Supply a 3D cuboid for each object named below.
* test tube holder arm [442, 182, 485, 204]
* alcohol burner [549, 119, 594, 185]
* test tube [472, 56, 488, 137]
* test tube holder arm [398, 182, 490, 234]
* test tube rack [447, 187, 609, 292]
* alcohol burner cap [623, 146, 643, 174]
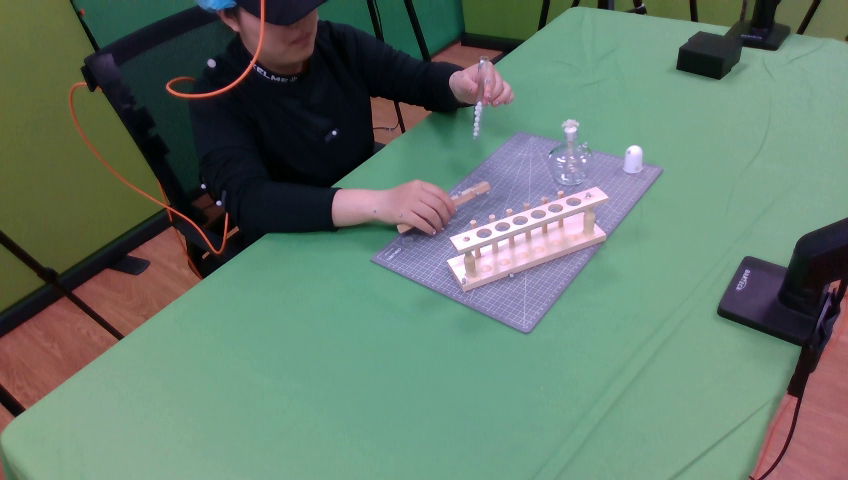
[{"bbox_3d":[0.070,-0.075,1.023,0.088,0.015,0.010,-28,14,-19],"label":"test tube holder arm"},{"bbox_3d":[0.254,-0.155,1.043,0.078,0.120,0.077,-7,40,6],"label":"alcohol burner"},{"bbox_3d":[0.095,-0.240,1.027,0.017,0.151,0.017,1,44,-1],"label":"test tube"},{"bbox_3d":[0.035,-0.055,1.002,0.179,0.015,0.013,-28,14,-21],"label":"test tube holder arm"},{"bbox_3d":[0.155,-0.011,0.913,0.243,0.085,0.066,-19,41,-11],"label":"test tube rack"},{"bbox_3d":[0.369,-0.142,1.061,0.034,0.048,0.033,-7,41,6],"label":"alcohol burner cap"}]
